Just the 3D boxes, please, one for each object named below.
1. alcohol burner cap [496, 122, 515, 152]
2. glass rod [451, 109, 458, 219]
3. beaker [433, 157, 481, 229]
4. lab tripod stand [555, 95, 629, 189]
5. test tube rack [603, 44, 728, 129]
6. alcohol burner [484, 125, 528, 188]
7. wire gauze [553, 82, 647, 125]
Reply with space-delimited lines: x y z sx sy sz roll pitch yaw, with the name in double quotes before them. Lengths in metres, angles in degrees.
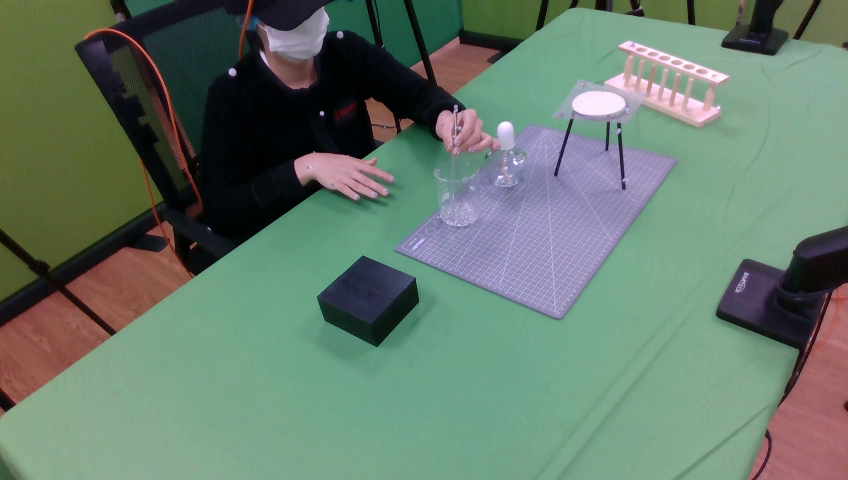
"alcohol burner cap" 0.139 -0.179 1.037 0.034 0.048 0.033 -4 44 4
"glass rod" 0.049 -0.115 0.959 0.008 0.200 0.008 0 38 1
"beaker" 0.058 -0.077 0.994 0.073 0.101 0.084 19 46 28
"lab tripod stand" 0.300 -0.174 1.045 0.148 0.132 0.147 -5 38 5
"test tube rack" 0.480 -0.316 1.227 0.067 0.085 0.240 -28 44 -22
"alcohol burner" 0.144 -0.152 1.059 0.078 0.119 0.077 -3 41 3
"wire gauze" 0.293 -0.225 1.002 0.120 0.011 0.125 17 45 27
